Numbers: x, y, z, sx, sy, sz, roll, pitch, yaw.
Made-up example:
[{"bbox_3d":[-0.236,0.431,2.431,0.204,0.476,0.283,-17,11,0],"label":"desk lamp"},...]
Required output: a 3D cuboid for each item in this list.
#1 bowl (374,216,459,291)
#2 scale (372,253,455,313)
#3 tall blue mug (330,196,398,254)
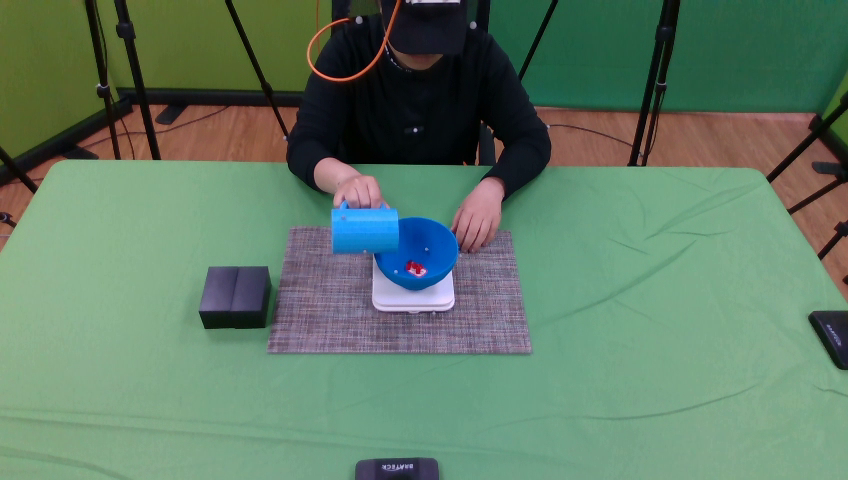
[{"bbox_3d":[-0.015,0.036,1.075,0.151,0.077,0.150,1,46,-1],"label":"bowl"},{"bbox_3d":[-0.022,0.051,1.134,0.149,0.032,0.199,1,46,-4],"label":"scale"},{"bbox_3d":[-0.102,-0.031,1.016,0.108,0.078,0.107,-1,78,-9],"label":"tall blue mug"}]
